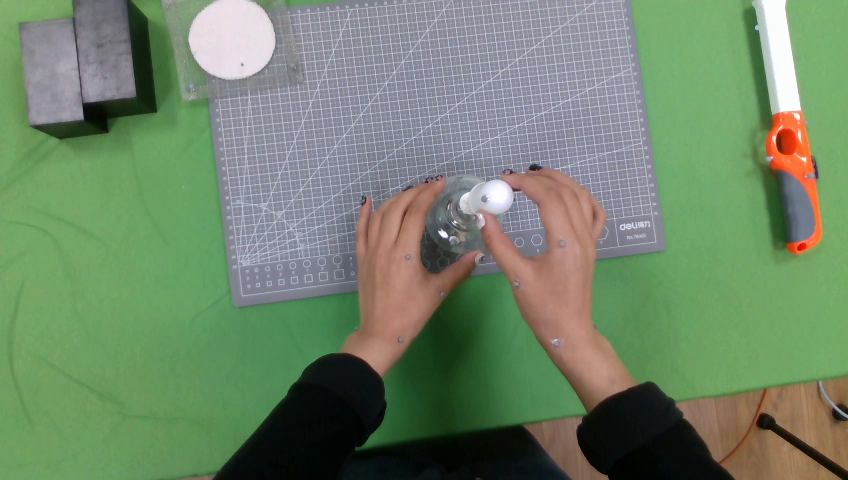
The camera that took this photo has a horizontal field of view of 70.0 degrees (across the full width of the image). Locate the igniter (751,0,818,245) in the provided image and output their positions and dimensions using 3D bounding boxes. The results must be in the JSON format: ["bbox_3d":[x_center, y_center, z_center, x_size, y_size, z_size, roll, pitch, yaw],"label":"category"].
[{"bbox_3d":[0.381,-0.133,0.643,0.057,0.025,0.276,-6,88,-15],"label":"igniter"}]

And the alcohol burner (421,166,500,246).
[{"bbox_3d":[0.037,-0.035,0.571,0.078,0.119,0.077,0,85,-4],"label":"alcohol burner"}]

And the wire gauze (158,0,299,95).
[{"bbox_3d":[-0.201,-0.215,0.617,0.125,0.011,0.121,-13,87,-3],"label":"wire gauze"}]

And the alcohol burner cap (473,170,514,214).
[{"bbox_3d":[0.058,-0.040,0.490,0.034,0.048,0.034,0,85,1],"label":"alcohol burner cap"}]
